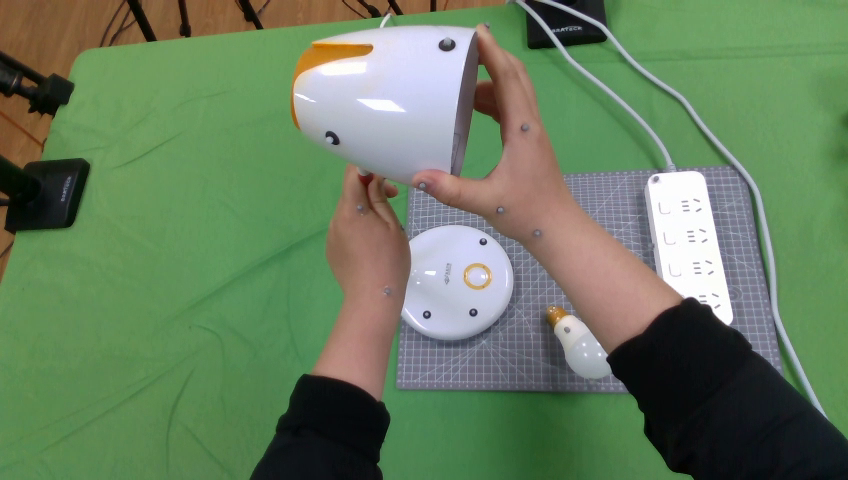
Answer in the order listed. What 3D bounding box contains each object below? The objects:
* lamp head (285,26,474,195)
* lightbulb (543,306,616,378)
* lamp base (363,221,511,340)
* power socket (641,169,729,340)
[{"bbox_3d":[-0.030,-0.092,0.420,0.122,0.113,0.111,7,67,12],"label":"lamp head"},{"bbox_3d":[0.179,0.116,0.718,0.059,0.060,0.106,-36,49,-7],"label":"lightbulb"},{"bbox_3d":[0.006,0.023,0.719,0.179,0.182,0.159,-8,64,10],"label":"lamp base"},{"bbox_3d":[0.320,0.010,0.749,0.072,0.033,0.225,-3,65,8],"label":"power socket"}]
